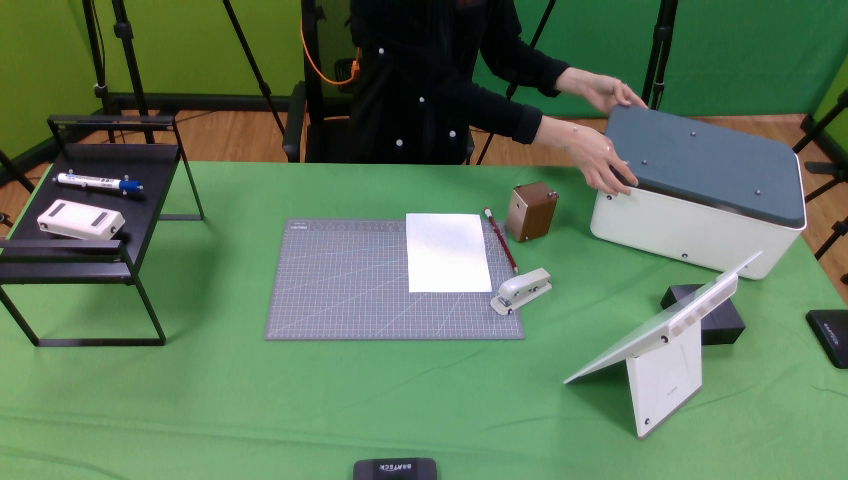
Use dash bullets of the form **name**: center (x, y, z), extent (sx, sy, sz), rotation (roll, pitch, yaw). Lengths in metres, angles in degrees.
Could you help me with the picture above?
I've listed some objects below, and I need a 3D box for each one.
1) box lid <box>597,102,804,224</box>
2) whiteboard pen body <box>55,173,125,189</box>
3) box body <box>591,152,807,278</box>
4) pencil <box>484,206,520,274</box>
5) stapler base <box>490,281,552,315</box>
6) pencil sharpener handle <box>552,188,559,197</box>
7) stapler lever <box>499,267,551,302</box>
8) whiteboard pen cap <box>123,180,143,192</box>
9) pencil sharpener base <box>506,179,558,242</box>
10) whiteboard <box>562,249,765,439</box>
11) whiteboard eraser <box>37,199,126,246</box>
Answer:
- **box lid**: center (0.531, -0.158, 1.167), extent (0.371, 0.015, 0.262), rotation (17, 45, 11)
- **whiteboard pen body**: center (-0.539, -0.095, 0.998), extent (0.141, 0.017, 0.017), rotation (6, 46, 6)
- **box body**: center (0.540, -0.092, 1.229), extent (0.363, 0.161, 0.253), rotation (16, 47, 11)
- **pencil**: center (0.156, -0.002, 1.218), extent (0.012, 0.012, 0.192), rotation (-10, 48, -13)
- **stapler base**: center (0.181, 0.094, 1.118), extent (0.130, 0.024, 0.041), rotation (-24, 56, -29)
- **pencil sharpener handle**: center (0.261, -0.085, 1.222), extent (0.031, 0.068, 0.036), rotation (-16, 70, -19)
- **stapler lever**: center (0.185, 0.076, 1.101), extent (0.118, 0.040, 0.026), rotation (-24, 56, -29)
- **whiteboard pen cap**: center (-0.479, -0.089, 0.993), extent (0.033, 0.018, 0.018), rotation (7, 46, 14)
- **pencil sharpener base**: center (0.216, -0.059, 1.211), extent (0.077, 0.107, 0.061), rotation (-16, 49, -19)
- **whiteboard**: center (0.386, 0.176, 0.905), extent (0.217, 0.306, 0.143), rotation (-26, 72, -26)
- **whiteboard eraser**: center (-0.518, -0.025, 0.918), extent (0.112, 0.042, 0.055), rotation (12, 49, 7)
